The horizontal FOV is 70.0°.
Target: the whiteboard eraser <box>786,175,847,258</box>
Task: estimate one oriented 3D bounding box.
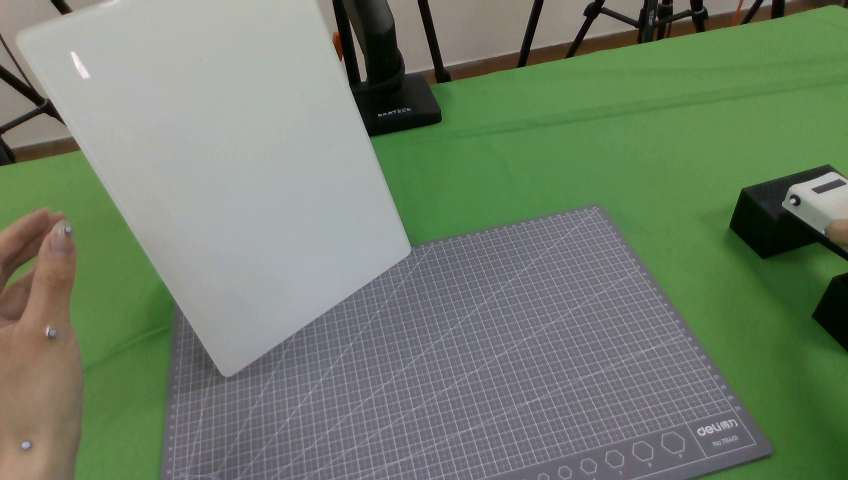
[{"bbox_3d":[0.369,-0.010,0.508,0.055,0.042,0.111,-23,40,-8],"label":"whiteboard eraser"}]

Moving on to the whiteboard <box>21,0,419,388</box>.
[{"bbox_3d":[-0.171,-0.068,0.557,0.217,0.308,0.142,-34,29,-25],"label":"whiteboard"}]
